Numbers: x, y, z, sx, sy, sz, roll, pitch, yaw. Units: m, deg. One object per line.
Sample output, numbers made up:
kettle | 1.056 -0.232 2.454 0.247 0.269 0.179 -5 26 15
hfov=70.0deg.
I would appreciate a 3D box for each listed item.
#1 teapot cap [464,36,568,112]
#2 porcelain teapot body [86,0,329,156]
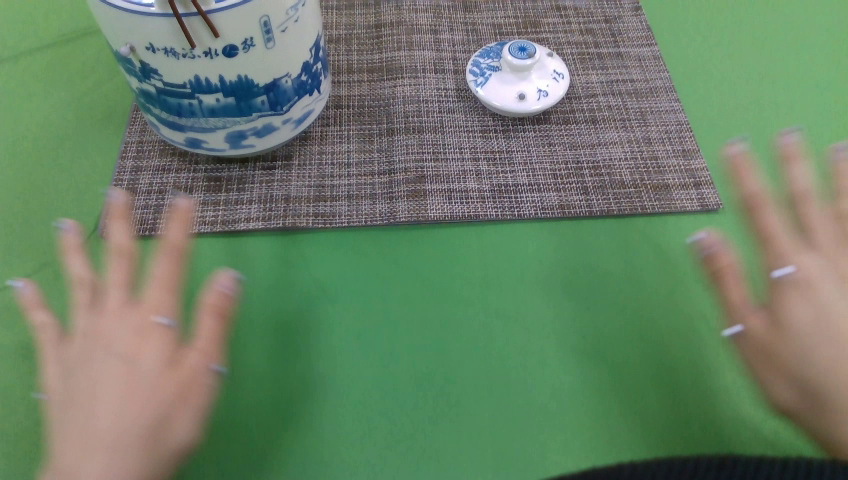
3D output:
teapot cap | 0.075 -0.141 0.493 0.085 0.044 0.084 -1 57 2
porcelain teapot body | -0.150 -0.196 0.413 0.145 0.227 0.203 -8 58 -6
